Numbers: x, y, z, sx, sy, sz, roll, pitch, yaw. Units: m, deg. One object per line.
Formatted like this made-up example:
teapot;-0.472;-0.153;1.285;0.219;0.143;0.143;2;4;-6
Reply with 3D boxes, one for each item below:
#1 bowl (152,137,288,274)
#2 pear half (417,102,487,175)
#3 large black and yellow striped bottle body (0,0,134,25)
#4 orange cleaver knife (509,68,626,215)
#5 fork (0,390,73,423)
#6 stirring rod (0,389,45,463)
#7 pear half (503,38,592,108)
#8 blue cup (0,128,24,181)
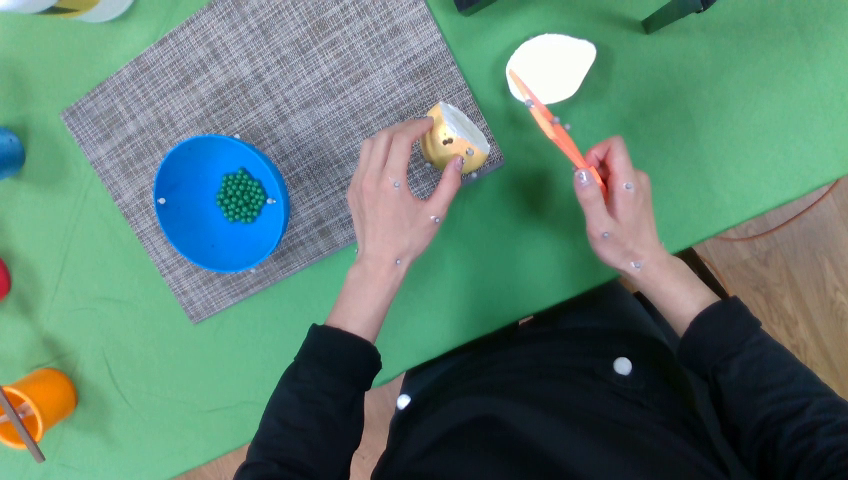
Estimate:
bowl;-0.214;-0.044;0.680;0.151;0.076;0.152;3;106;11
pear half;0.020;-0.094;0.604;0.076;0.109;0.056;44;110;2
large black and yellow striped bottle body;-0.389;-0.287;0.594;0.130;0.183;0.131;3;105;10
orange cleaver knife;0.133;-0.081;0.542;0.012;0.213;0.076;-34;55;20
fork;-0.580;0.242;0.798;0.208;0.018;0.028;-17;116;-30
stirring rod;-0.539;0.213;0.780;0.014;0.006;0.177;-22;101;15
pear half;0.124;-0.166;0.607;0.088;0.031;0.070;-21;87;7
blue cup;-0.541;-0.099;0.720;0.092;0.100;0.093;2;106;9
